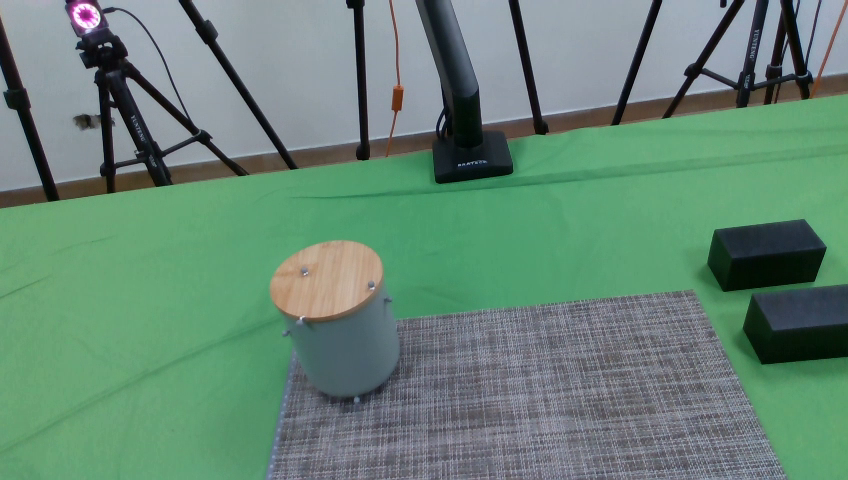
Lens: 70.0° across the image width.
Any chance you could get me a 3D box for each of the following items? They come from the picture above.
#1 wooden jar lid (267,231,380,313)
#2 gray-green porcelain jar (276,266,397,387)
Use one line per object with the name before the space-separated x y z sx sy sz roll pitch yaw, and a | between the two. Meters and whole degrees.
wooden jar lid | -0.095 0.033 0.580 0.108 0.021 0.107 -4 41 4
gray-green porcelain jar | -0.086 0.079 0.619 0.106 0.128 0.105 -6 40 5
